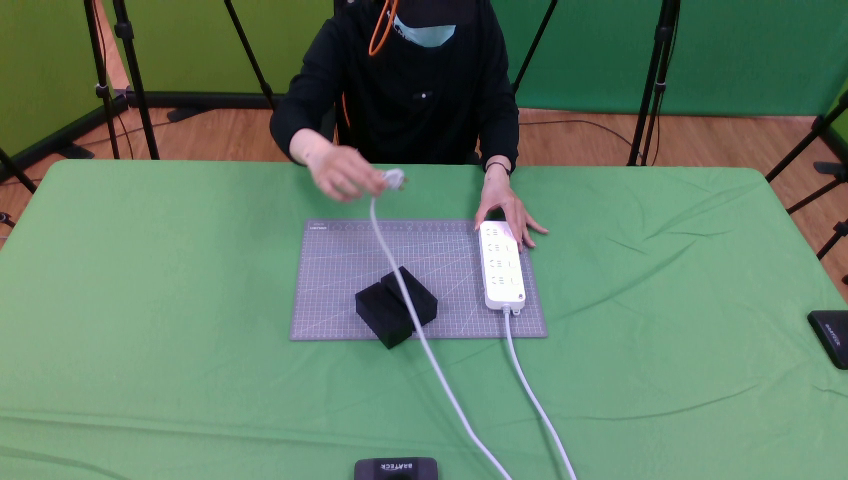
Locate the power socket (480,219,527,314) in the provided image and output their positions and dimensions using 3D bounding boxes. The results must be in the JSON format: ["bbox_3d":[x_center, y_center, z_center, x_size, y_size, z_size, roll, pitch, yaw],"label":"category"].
[{"bbox_3d":[0.148,0.042,1.151,0.072,0.033,0.225,1,46,-1],"label":"power socket"}]

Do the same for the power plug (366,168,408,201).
[{"bbox_3d":[-0.063,-0.093,1.038,0.053,0.072,0.035,21,41,-37],"label":"power plug"}]
